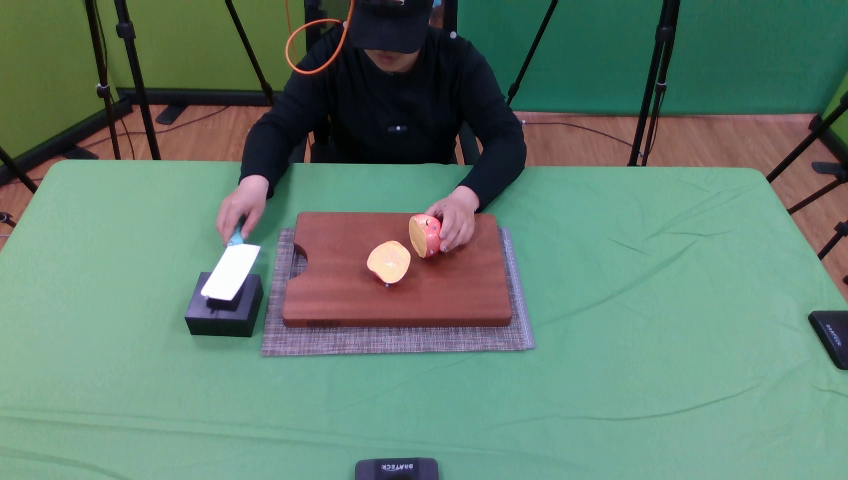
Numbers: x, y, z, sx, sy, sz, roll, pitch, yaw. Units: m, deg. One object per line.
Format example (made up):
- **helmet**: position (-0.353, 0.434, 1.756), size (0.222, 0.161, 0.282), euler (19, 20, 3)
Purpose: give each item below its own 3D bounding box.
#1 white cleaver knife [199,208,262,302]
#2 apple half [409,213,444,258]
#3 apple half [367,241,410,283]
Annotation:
- **white cleaver knife**: position (-0.338, 0.023, 1.116), size (0.066, 0.021, 0.285), euler (9, 34, -4)
- **apple half**: position (0.010, -0.009, 1.134), size (0.053, 0.075, 0.080), euler (-14, 45, -23)
- **apple half**: position (-0.059, 0.043, 1.100), size (0.081, 0.033, 0.081), euler (-3, 67, 8)
